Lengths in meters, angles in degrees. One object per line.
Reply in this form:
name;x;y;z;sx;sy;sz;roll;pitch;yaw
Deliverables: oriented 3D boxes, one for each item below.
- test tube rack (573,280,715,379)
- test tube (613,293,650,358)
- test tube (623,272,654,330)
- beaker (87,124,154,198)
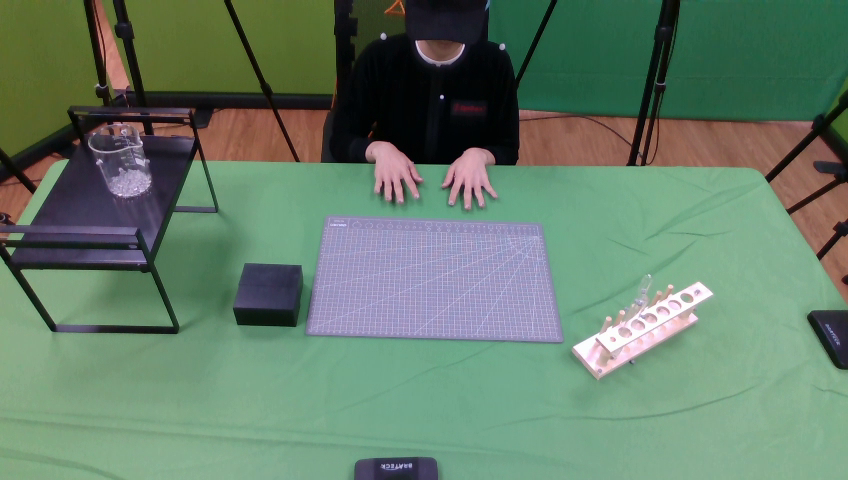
test tube rack;0.378;0.140;1.038;0.242;0.085;0.066;-22;51;-23
test tube;0.329;0.140;0.966;0.017;0.151;0.017;4;43;-3
test tube;0.356;0.104;1.010;0.017;0.151;0.017;1;46;-1
beaker;-0.482;-0.124;0.978;0.084;0.101;0.073;9;46;4
